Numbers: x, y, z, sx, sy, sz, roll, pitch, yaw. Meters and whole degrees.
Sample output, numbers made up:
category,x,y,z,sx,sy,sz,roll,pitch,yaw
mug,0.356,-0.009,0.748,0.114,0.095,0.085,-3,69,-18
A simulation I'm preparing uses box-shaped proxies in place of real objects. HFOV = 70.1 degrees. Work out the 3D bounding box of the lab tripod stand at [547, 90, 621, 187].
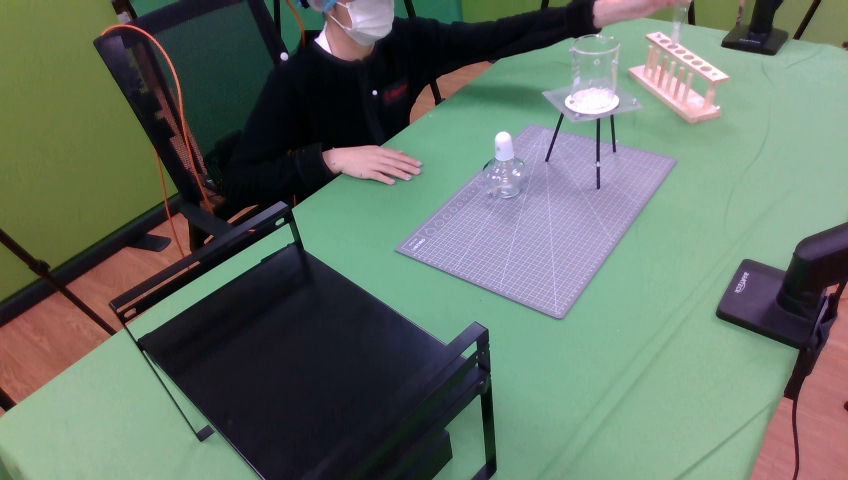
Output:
category,x,y,z,sx,sy,sz,roll,pitch,yaw
lab tripod stand,0.289,-0.184,1.062,0.148,0.132,0.147,-6,41,6

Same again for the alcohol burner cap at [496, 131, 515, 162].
category,x,y,z,sx,sy,sz,roll,pitch,yaw
alcohol burner cap,0.135,-0.160,1.019,0.034,0.048,0.033,-7,38,6

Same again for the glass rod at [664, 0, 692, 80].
category,x,y,z,sx,sy,sz,roll,pitch,yaw
glass rod,0.524,-0.420,1.240,0.008,0.200,0.008,1,43,-1

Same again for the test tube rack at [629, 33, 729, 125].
category,x,y,z,sx,sy,sz,roll,pitch,yaw
test tube rack,0.516,-0.337,1.247,0.067,0.085,0.240,-14,41,-7

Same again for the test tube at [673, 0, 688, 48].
category,x,y,z,sx,sy,sz,roll,pitch,yaw
test tube,0.486,-0.433,1.137,0.017,0.151,0.017,-6,43,6

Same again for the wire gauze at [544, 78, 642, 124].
category,x,y,z,sx,sy,sz,roll,pitch,yaw
wire gauze,0.282,-0.234,1.021,0.125,0.011,0.120,-17,38,-4

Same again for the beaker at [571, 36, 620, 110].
category,x,y,z,sx,sy,sz,roll,pitch,yaw
beaker,0.280,-0.272,0.990,0.073,0.101,0.084,17,47,28

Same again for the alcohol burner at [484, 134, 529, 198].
category,x,y,z,sx,sy,sz,roll,pitch,yaw
alcohol burner,0.141,-0.133,1.041,0.078,0.119,0.077,-5,43,5
